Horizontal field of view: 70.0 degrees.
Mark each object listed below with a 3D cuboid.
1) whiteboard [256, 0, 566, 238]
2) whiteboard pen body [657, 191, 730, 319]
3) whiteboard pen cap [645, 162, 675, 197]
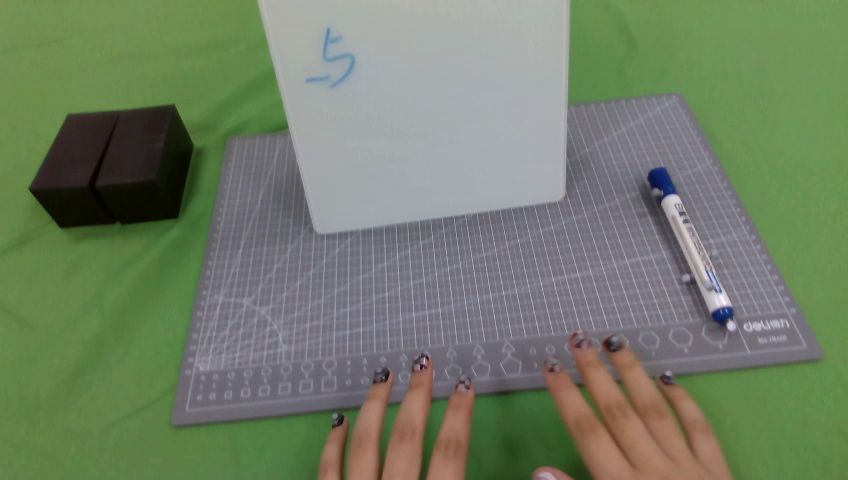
[{"bbox_3d":[-0.008,-0.181,0.488,0.217,0.308,0.142,-8,32,-1],"label":"whiteboard"},{"bbox_3d":[0.204,-0.002,0.472,0.017,0.017,0.139,-7,53,-1],"label":"whiteboard pen body"},{"bbox_3d":[0.197,-0.048,0.507,0.018,0.018,0.033,-6,54,-1],"label":"whiteboard pen cap"}]
